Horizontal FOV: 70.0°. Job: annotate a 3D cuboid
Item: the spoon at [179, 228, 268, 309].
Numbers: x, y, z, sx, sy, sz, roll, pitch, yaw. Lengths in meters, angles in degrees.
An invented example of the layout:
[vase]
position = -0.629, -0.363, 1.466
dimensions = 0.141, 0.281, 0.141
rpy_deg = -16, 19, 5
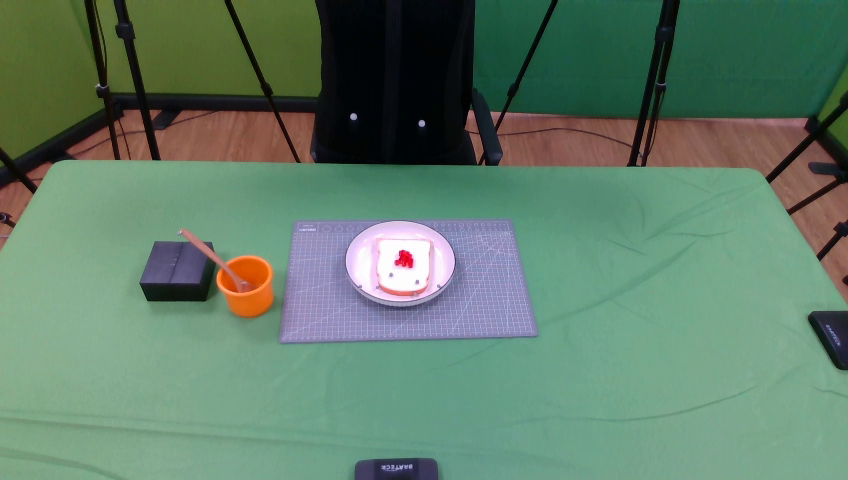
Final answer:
[spoon]
position = -0.342, 0.048, 1.037
dimensions = 0.021, 0.194, 0.041
rpy_deg = -19, 28, 44

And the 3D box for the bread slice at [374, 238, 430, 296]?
[bread slice]
position = -0.039, 0.048, 1.135
dimensions = 0.107, 0.018, 0.133
rpy_deg = -1, 47, -4

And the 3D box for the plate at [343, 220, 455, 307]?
[plate]
position = -0.047, 0.046, 1.135
dimensions = 0.209, 0.038, 0.208
rpy_deg = 2, 46, -2
